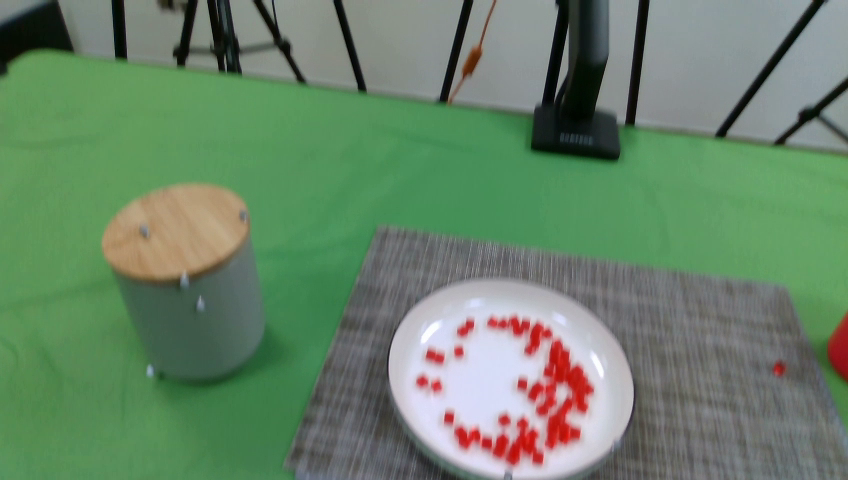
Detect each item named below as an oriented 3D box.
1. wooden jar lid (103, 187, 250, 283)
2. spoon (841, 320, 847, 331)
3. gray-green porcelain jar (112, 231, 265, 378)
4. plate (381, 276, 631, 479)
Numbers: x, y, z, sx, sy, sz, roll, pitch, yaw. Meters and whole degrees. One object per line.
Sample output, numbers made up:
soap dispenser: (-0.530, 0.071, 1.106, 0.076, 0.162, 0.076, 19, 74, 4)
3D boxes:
wooden jar lid: (-0.191, -0.003, 0.475, 0.108, 0.021, 0.107, 2, 43, -2)
spoon: (0.451, 0.077, 0.511, 0.042, 0.021, 0.193, -9, 3, -21)
gray-green porcelain jar: (-0.195, 0.047, 0.517, 0.106, 0.127, 0.105, 2, 41, -2)
plate: (0.068, 0.116, 0.520, 0.208, 0.039, 0.205, 3, 41, -2)
